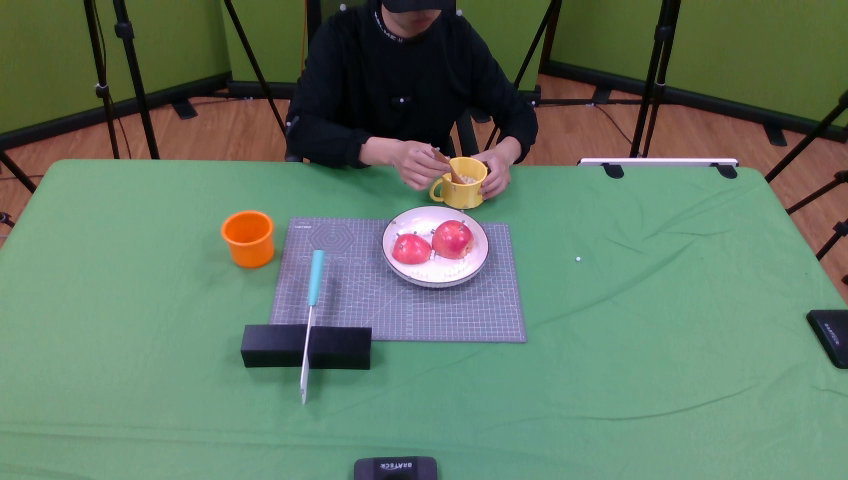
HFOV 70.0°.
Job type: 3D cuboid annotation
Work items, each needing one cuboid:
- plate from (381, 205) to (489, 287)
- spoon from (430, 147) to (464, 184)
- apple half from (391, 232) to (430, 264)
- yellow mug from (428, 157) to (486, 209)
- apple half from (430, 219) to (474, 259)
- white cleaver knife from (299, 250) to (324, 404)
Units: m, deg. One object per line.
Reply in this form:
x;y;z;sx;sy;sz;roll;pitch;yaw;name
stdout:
0.021;0.015;1.170;0.209;0.038;0.208;2;46;-2;plate
0.049;-0.141;1.212;0.041;0.195;0.021;13;73;27;spoon
-0.024;0.009;1.163;0.081;0.033;0.081;2;44;-2;apple half
0.068;-0.117;1.283;0.131;0.064;0.099;-20;46;-17;yellow mug
0.056;-0.007;1.172;0.081;0.053;0.074;-33;59;-31;apple half
-0.194;0.134;1.019;0.021;0.066;0.284;5;50;-5;white cleaver knife
